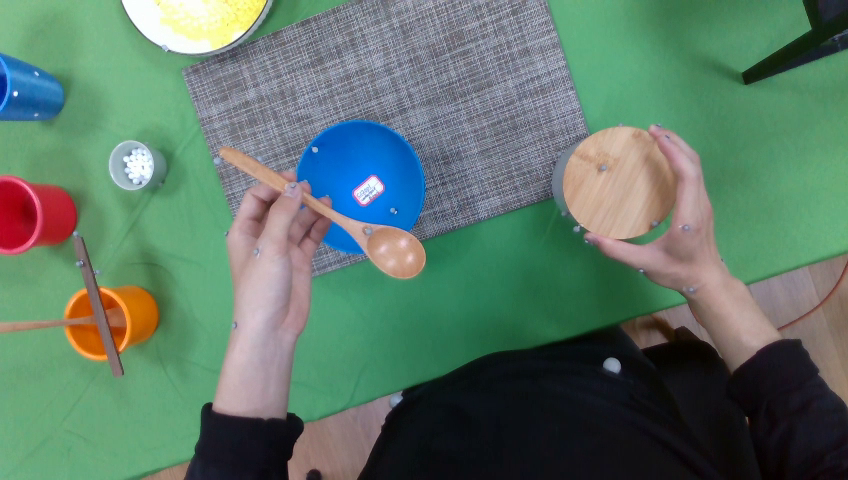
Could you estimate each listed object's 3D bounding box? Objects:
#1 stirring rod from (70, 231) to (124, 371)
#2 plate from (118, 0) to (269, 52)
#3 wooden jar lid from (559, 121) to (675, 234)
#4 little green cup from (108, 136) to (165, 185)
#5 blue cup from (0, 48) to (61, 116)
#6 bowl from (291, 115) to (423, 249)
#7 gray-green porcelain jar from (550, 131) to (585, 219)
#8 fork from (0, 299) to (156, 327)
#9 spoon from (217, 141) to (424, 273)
[{"bbox_3d":[-0.394,0.074,0.729,0.014,0.006,0.176,-16,92,7],"label":"stirring rod"},{"bbox_3d":[-0.276,-0.332,0.739,0.209,0.038,0.209,1,95,7],"label":"plate"},{"bbox_3d":[0.186,-0.060,0.589,0.108,0.020,0.108,1,96,6],"label":"wooden jar lid"},{"bbox_3d":[-0.362,-0.099,0.769,0.061,0.038,0.061,1,95,8],"label":"little green cup"},{"bbox_3d":[-0.512,-0.193,0.749,0.092,0.100,0.093,1,95,9],"label":"blue cup"},{"bbox_3d":[-0.070,-0.067,0.709,0.151,0.077,0.151,1,95,8],"label":"bowl"},{"bbox_3d":[0.192,-0.068,0.650,0.106,0.126,0.106,1,97,5],"label":"gray-green porcelain jar"},{"bbox_3d":[-0.441,0.093,0.740,0.208,0.018,0.028,-2,98,-36],"label":"fork"},{"bbox_3d":[-0.086,-0.030,0.510,0.194,0.021,0.041,31,96,-13],"label":"spoon"}]
